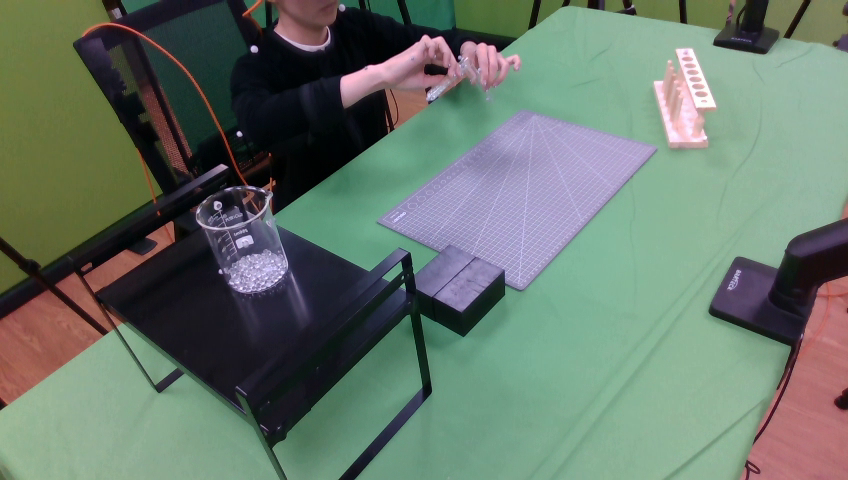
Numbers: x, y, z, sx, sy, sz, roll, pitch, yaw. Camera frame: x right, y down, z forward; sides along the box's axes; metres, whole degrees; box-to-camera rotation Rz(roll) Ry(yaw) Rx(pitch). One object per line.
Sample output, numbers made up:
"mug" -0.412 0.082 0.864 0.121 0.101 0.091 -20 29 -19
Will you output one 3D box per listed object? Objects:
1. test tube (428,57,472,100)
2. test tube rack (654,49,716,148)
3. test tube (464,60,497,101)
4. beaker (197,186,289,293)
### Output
"test tube" 0.043 -0.260 0.971 0.017 0.017 0.150 13 41 23
"test tube rack" 0.502 -0.281 1.176 0.066 0.085 0.241 1 41 11
"test tube" 0.104 -0.285 1.091 0.017 0.151 0.017 -5 78 23
"beaker" -0.192 0.001 0.666 0.084 0.101 0.073 -32 47 -27
